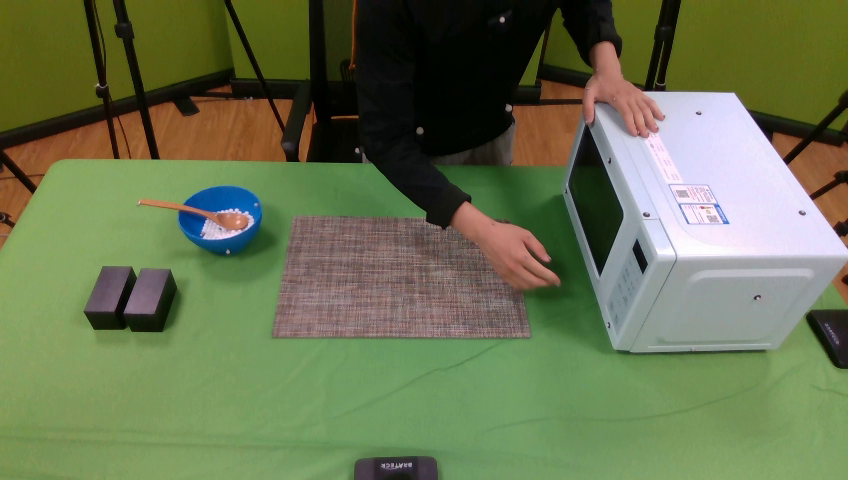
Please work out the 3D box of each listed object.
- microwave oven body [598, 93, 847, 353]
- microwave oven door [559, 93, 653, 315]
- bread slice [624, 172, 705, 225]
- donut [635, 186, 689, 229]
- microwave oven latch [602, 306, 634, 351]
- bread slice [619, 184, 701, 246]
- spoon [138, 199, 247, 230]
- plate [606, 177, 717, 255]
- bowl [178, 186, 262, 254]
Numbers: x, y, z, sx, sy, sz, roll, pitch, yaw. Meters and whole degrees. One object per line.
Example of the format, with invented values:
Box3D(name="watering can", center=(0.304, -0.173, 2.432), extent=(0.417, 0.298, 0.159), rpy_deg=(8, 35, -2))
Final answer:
Box3D(name="microwave oven body", center=(0.476, -0.041, 1.110), extent=(0.326, 0.261, 0.438), rpy_deg=(-1, 45, -4))
Box3D(name="microwave oven door", center=(0.327, -0.074, 1.123), extent=(0.039, 0.245, 0.353), rpy_deg=(-1, 46, -5))
Box3D(name="bread slice", center=(0.460, -0.078, 1.139), extent=(0.131, 0.019, 0.105), rpy_deg=(35, 51, 30))
Box3D(name="donut", center=(0.454, -0.062, 1.159), extent=(0.099, 0.048, 0.098), rpy_deg=(-1, 48, 2))
Box3D(name="microwave oven latch", center=(0.332, 0.153, 1.044), extent=(0.030, 0.029, 0.078), rpy_deg=(0, 45, -4))
Box3D(name="bread slice", center=(0.462, -0.045, 1.170), extent=(0.134, 0.018, 0.107), rpy_deg=(32, 59, 22))
Box3D(name="spoon", center=(-0.431, -0.053, 1.135), extent=(0.194, 0.022, 0.041), rpy_deg=(15, 49, -20))
Box3D(name="plate", center=(0.456, -0.043, 1.181), extent=(0.208, 0.039, 0.206), rpy_deg=(1, 46, -1))
Box3D(name="bowl", center=(-0.383, -0.026, 1.157), extent=(0.151, 0.077, 0.150), rpy_deg=(2, 46, -2))
